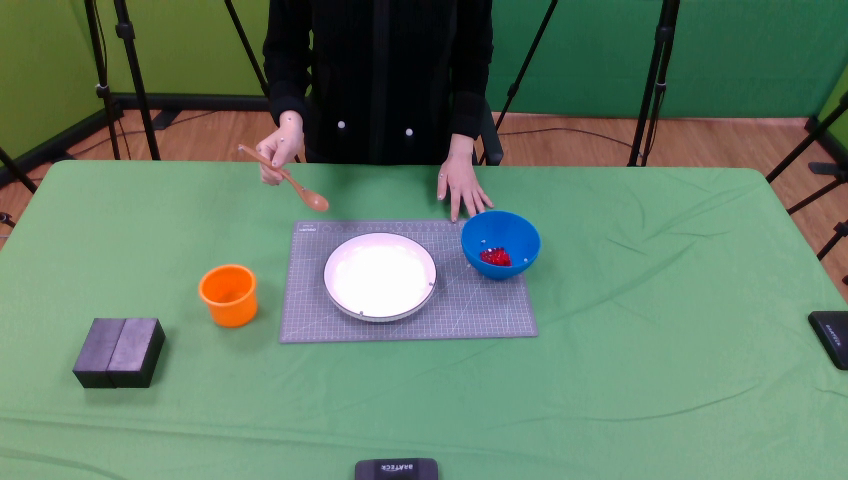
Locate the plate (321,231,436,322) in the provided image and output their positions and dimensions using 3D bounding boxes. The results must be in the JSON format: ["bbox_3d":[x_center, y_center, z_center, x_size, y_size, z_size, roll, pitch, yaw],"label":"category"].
[{"bbox_3d":[-0.083,0.070,1.109,0.209,0.038,0.208,3,46,-3],"label":"plate"}]

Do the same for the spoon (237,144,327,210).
[{"bbox_3d":[-0.249,-0.112,1.077,0.021,0.195,0.041,-26,40,30],"label":"spoon"}]

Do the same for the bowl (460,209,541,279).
[{"bbox_3d":[0.140,0.021,1.145,0.151,0.077,0.150,2,46,-2],"label":"bowl"}]
